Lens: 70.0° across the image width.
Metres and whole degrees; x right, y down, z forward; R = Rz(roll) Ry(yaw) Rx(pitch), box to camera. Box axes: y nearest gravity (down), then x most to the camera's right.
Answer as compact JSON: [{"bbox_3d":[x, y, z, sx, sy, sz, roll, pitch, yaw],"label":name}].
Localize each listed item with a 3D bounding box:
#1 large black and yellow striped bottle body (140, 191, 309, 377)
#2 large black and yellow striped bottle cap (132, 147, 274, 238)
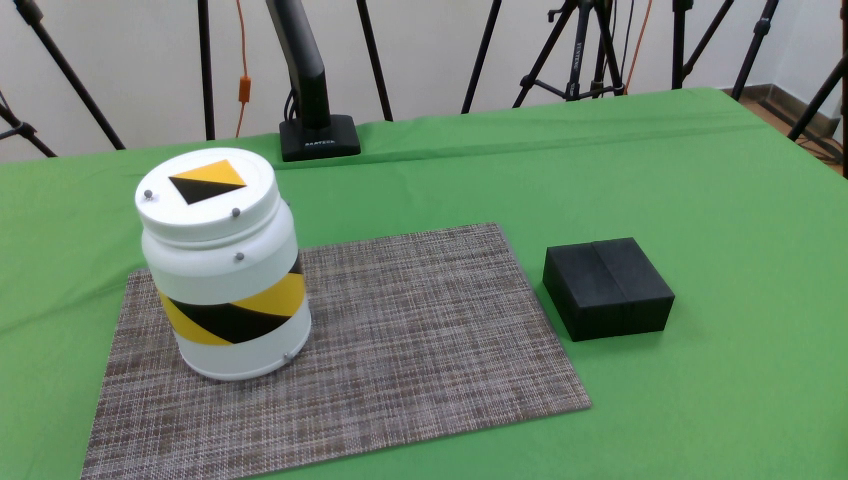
[{"bbox_3d":[-0.186,0.025,0.576,0.131,0.185,0.129,0,38,1],"label":"large black and yellow striped bottle body"},{"bbox_3d":[-0.189,-0.044,0.522,0.115,0.019,0.114,0,40,0],"label":"large black and yellow striped bottle cap"}]
